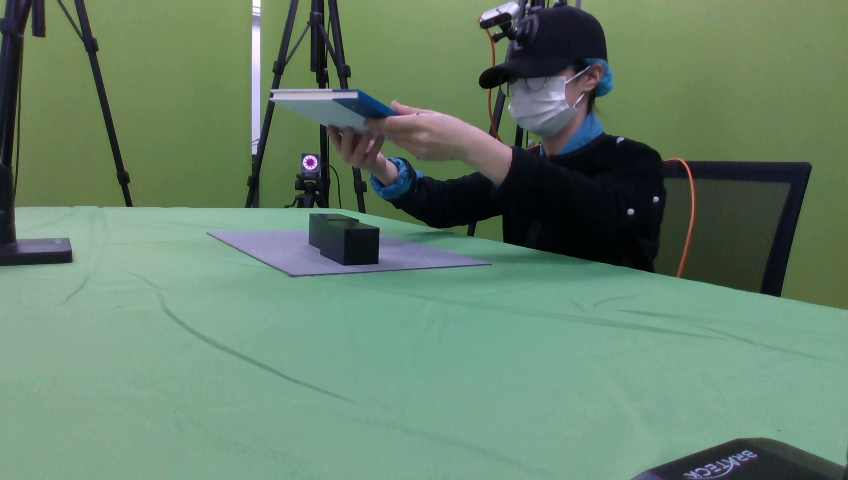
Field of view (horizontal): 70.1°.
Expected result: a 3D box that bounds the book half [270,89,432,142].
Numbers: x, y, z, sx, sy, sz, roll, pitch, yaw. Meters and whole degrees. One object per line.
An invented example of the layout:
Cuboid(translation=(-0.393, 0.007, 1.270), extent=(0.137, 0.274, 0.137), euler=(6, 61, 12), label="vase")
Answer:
Cuboid(translation=(-0.098, -0.179, 0.889), extent=(0.148, 0.016, 0.211), euler=(6, -4, 28), label="book half")

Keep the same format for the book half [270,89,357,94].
Cuboid(translation=(-0.101, -0.185, 0.890), extent=(0.142, 0.007, 0.211), euler=(7, -3, 29), label="book half")
